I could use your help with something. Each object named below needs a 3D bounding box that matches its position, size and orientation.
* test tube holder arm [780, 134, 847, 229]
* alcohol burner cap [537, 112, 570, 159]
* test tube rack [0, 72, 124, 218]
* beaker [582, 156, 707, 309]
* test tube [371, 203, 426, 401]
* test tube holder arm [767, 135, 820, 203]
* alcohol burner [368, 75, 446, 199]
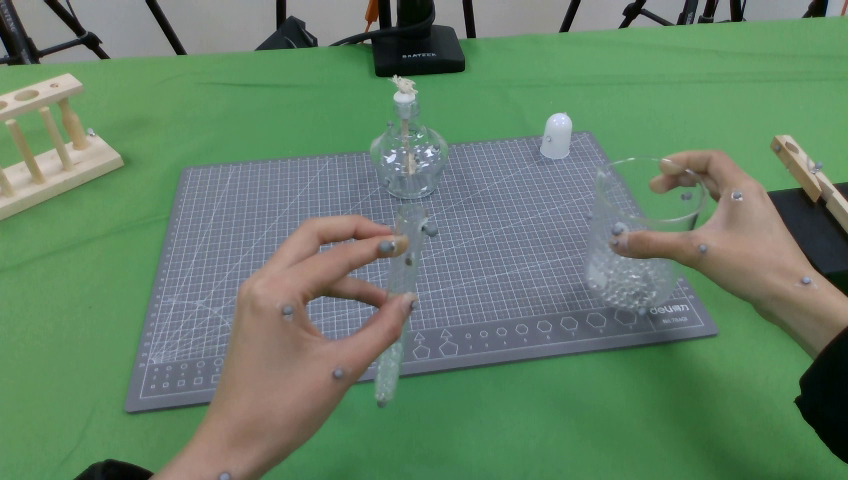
[{"bbox_3d":[0.346,-0.036,0.516,0.013,0.015,0.176,-9,43,2],"label":"test tube holder arm"},{"bbox_3d":[0.140,-0.114,0.649,0.034,0.048,0.033,0,43,0],"label":"alcohol burner cap"},{"bbox_3d":[-0.429,-0.069,0.573,0.066,0.086,0.242,34,53,31],"label":"test tube rack"},{"bbox_3d":[0.158,-0.003,0.458,0.074,0.101,0.083,-33,51,-25],"label":"beaker"},{"bbox_3d":[-0.016,0.043,0.341,0.017,0.151,0.017,6,39,-5],"label":"test tube"},{"bbox_3d":[0.337,-0.066,0.548,0.010,0.015,0.087,-9,43,3],"label":"test tube holder arm"},{"bbox_3d":[-0.017,-0.101,0.581,0.078,0.120,0.077,-1,42,2],"label":"alcohol burner"}]
